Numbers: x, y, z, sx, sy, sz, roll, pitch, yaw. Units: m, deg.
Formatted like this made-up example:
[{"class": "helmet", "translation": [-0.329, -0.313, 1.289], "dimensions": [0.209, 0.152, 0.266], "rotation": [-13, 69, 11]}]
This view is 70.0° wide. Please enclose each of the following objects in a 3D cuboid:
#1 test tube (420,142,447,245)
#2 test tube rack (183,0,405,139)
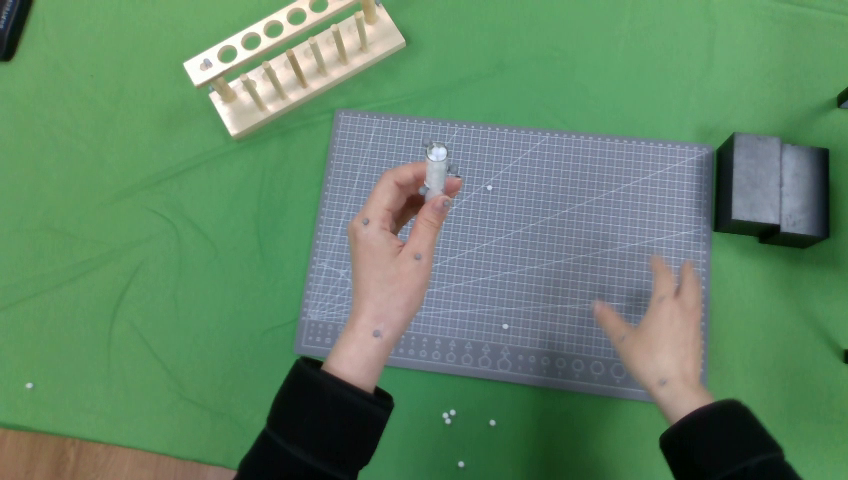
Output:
[{"class": "test tube", "translation": [0.005, -0.029, 0.456], "dimensions": [0.017, 0.151, 0.017], "rotation": [1, 68, -1]}, {"class": "test tube rack", "translation": [-0.147, -0.221, 0.718], "dimensions": [0.242, 0.085, 0.066], "rotation": [-30, 76, -4]}]
